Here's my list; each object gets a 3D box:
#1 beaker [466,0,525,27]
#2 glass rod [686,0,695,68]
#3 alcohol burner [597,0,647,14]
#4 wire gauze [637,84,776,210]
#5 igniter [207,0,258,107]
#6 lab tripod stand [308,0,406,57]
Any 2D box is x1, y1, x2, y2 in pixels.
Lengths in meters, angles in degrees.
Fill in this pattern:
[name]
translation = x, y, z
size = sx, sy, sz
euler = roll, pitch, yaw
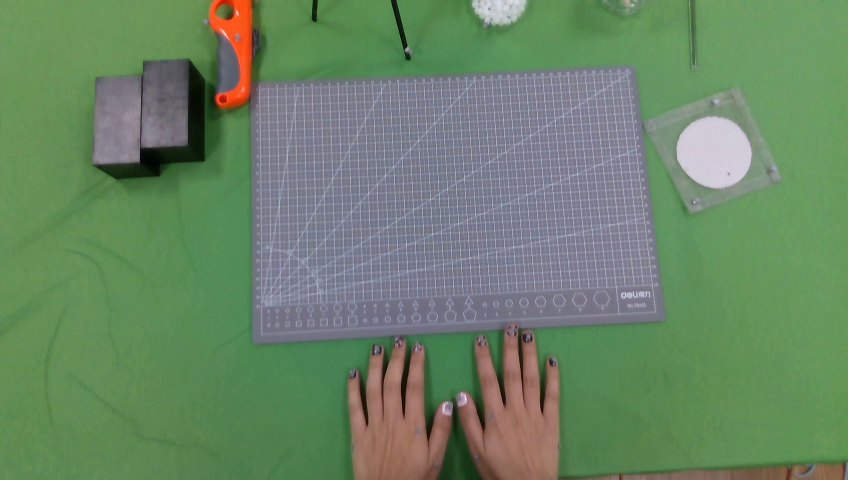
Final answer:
[beaker]
translation = 0.085, -0.299, 0.684
size = 0.074, 0.100, 0.083
euler = -12, 79, -4
[glass rod]
translation = 0.321, -0.302, 0.735
size = 0.008, 0.008, 0.199
euler = 2, 80, -1
[alcohol burner]
translation = 0.236, -0.311, 0.682
size = 0.078, 0.119, 0.077
euler = 0, 78, -1
[wire gauze]
translation = 0.329, -0.108, 0.701
size = 0.125, 0.011, 0.121
euler = -21, 81, -2
[igniter]
translation = -0.224, -0.286, 0.711
size = 0.057, 0.025, 0.275
euler = 0, 80, -16
[lab tripod stand]
translation = -0.065, -0.289, 0.662
size = 0.148, 0.132, 0.147
euler = 0, 78, 0
